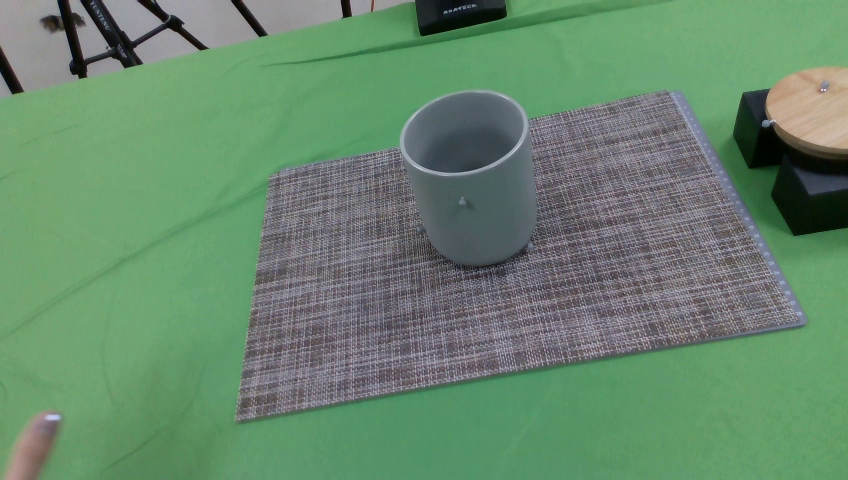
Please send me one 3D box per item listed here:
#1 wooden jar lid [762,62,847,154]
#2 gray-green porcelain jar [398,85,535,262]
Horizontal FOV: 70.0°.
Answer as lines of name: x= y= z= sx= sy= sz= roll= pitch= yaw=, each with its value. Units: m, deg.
wooden jar lid: x=0.343 y=-0.110 z=0.508 sx=0.108 sy=0.021 sz=0.107 roll=-7 pitch=51 yaw=9
gray-green porcelain jar: x=0.042 y=-0.051 z=0.527 sx=0.106 sy=0.128 sz=0.105 roll=-7 pitch=49 yaw=9
